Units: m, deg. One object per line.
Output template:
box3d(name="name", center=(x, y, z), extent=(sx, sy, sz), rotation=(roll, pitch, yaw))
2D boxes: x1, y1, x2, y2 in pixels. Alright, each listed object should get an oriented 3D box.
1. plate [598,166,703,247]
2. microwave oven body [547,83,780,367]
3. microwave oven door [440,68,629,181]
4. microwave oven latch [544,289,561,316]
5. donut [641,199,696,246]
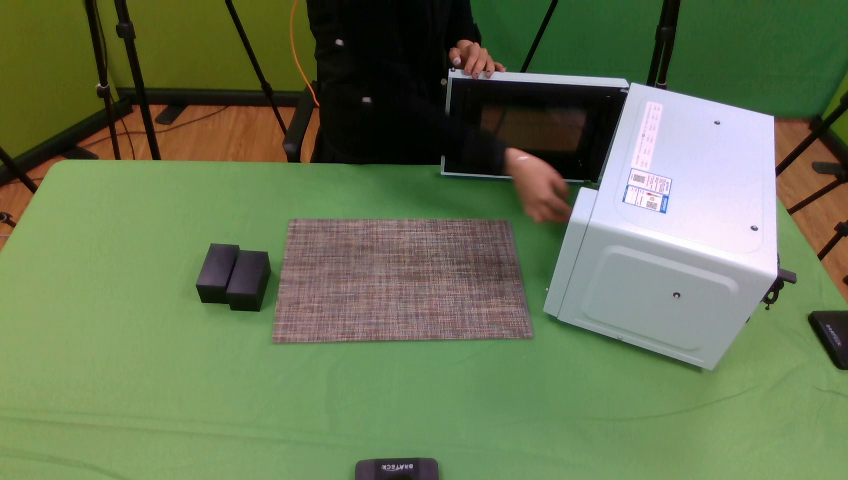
box3d(name="plate", center=(0.432, -0.061, 1.176), extent=(0.209, 0.038, 0.208), rotation=(8, 47, -9))
box3d(name="microwave oven body", center=(0.445, -0.041, 1.101), extent=(0.325, 0.261, 0.440), rotation=(17, 47, 13))
box3d(name="microwave oven door", center=(0.219, -0.236, 1.263), extent=(0.356, 0.245, 0.039), rotation=(3, 46, -1))
box3d(name="microwave oven latch", center=(0.237, 0.098, 1.087), extent=(0.030, 0.029, 0.079), rotation=(17, 47, 14))
box3d(name="donut", center=(0.467, -0.033, 1.160), extent=(0.099, 0.048, 0.098), rotation=(-5, 61, 9))
